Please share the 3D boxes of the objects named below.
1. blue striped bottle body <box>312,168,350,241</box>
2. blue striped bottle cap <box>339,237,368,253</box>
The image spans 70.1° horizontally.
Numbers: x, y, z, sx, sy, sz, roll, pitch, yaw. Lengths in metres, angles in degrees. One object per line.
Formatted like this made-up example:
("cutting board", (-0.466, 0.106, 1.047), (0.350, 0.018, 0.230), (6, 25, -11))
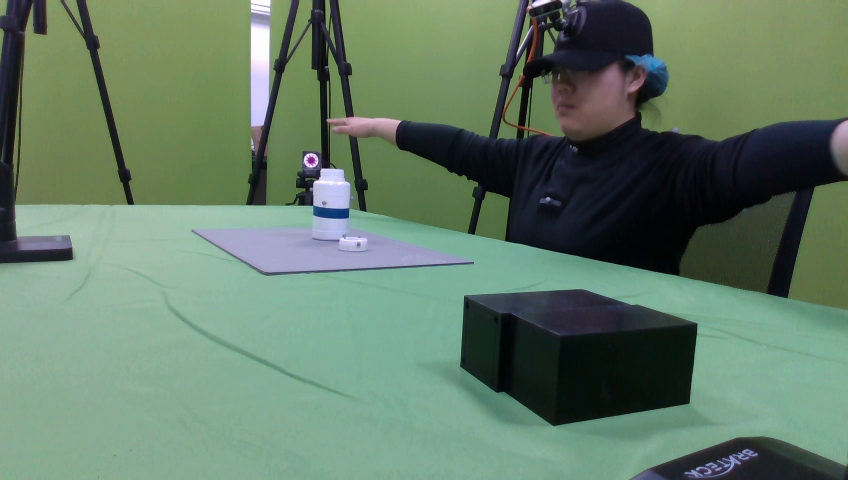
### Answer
("blue striped bottle body", (-0.157, -0.062, 1.025), (0.063, 0.120, 0.063), (3, 7, 0))
("blue striped bottle cap", (-0.107, 0.007, 0.920), (0.044, 0.020, 0.044), (1, 7, 0))
